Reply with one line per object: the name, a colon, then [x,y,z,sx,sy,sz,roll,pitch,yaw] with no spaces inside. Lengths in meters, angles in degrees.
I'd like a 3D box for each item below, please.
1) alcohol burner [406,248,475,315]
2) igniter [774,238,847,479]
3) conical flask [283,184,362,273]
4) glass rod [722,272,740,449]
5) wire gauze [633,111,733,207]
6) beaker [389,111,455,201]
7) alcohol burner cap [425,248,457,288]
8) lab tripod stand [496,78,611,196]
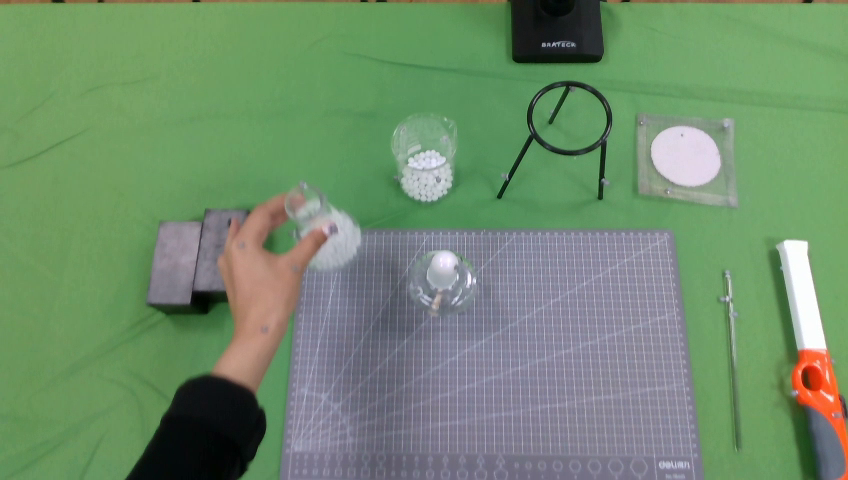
alcohol burner: [0.019,0.040,0.661,0.078,0.120,0.077,0,70,0]
igniter: [0.427,0.129,0.668,0.057,0.025,0.274,4,71,-9]
conical flask: [-0.108,-0.016,0.611,0.075,0.122,0.075,-1,73,3]
glass rod: [0.343,0.130,0.680,0.008,0.008,0.198,5,71,3]
wire gauze: [0.327,-0.106,0.763,0.125,0.011,0.121,7,72,2]
beaker: [0.002,-0.097,0.720,0.084,0.101,0.073,-39,74,-12]
alcohol burner cap: [0.019,0.026,0.628,0.034,0.048,0.033,3,64,-5]
lab tripod stand: [0.153,-0.110,0.703,0.148,0.132,0.147,-1,73,2]
